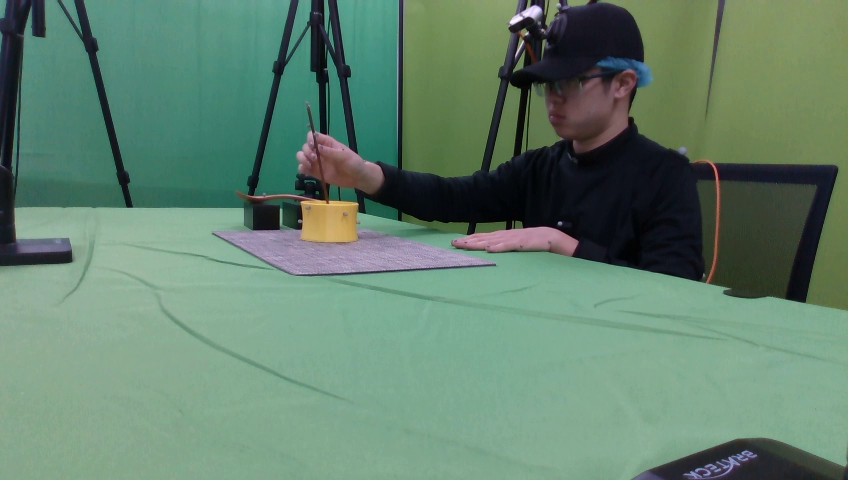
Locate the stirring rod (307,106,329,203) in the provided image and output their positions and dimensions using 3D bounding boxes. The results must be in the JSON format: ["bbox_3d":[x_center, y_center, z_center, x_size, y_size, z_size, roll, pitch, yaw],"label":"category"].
[{"bbox_3d":[-0.181,-0.142,1.036,0.006,0.176,0.014,-10,20,-4],"label":"stirring rod"}]

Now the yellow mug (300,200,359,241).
[{"bbox_3d":[-0.156,-0.036,1.059,0.099,0.064,0.131,5,7,28],"label":"yellow mug"}]

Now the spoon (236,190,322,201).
[{"bbox_3d":[-0.290,-0.088,1.248,0.195,0.021,0.041,0,6,-32],"label":"spoon"}]
